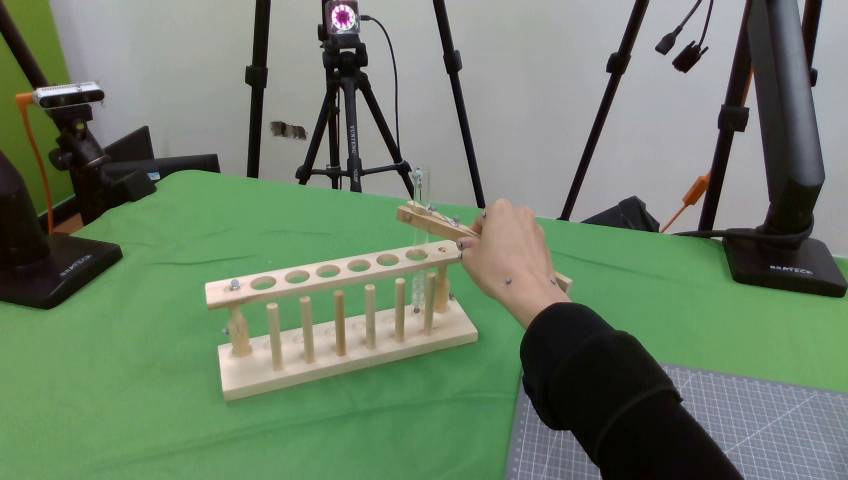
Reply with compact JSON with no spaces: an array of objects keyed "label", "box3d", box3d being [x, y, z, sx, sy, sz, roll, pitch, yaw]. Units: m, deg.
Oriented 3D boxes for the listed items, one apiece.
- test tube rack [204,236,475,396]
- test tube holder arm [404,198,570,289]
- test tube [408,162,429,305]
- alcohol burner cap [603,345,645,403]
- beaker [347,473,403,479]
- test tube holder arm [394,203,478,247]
[{"label":"test tube rack","box3d":[-0.073,0.067,0.575,0.243,0.086,0.066,-10,33,-18]},{"label":"test tube holder arm","box3d":[0.051,0.000,0.546,0.177,0.015,0.013,26,37,28]},{"label":"test tube","box3d":[-0.006,-0.002,0.585,0.017,0.151,0.017,2,26,-1]},{"label":"alcohol burner cap","box3d":[0.178,0.115,0.536,0.034,0.048,0.033,0,30,0]},{"label":"beaker","box3d":[-0.034,0.195,0.345,0.083,0.101,0.074,12,33,19]},{"label":"test tube holder arm","box3d":[0.011,-0.014,0.561,0.087,0.015,0.010,21,34,21]}]
